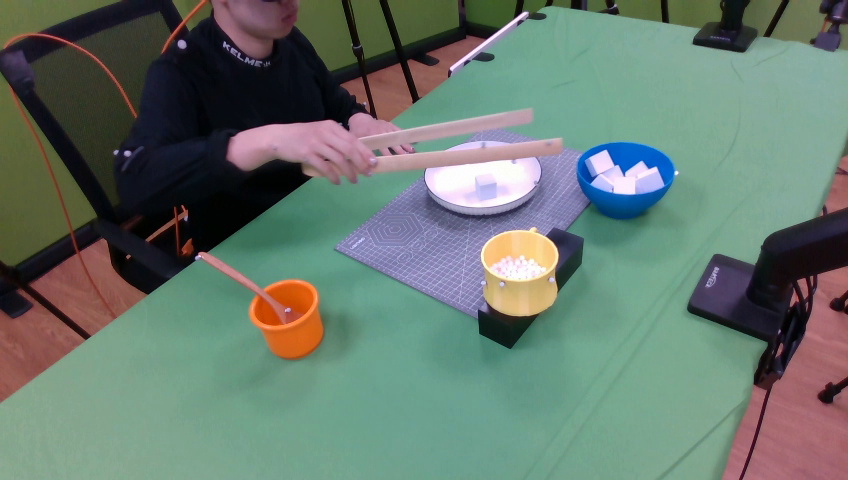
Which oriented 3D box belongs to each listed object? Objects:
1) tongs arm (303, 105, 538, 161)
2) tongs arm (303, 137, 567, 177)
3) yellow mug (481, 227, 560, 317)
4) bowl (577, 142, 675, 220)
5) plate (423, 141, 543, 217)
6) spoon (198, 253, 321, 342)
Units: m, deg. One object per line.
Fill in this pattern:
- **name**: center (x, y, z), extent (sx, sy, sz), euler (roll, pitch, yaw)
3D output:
- **tongs arm**: center (0.003, -0.167, 0.952), extent (0.389, 0.028, 0.028), euler (-13, 40, -12)
- **tongs arm**: center (0.015, -0.127, 0.891), extent (0.385, 0.026, 0.050), euler (-7, 36, -3)
- **yellow mug**: center (0.131, 0.032, 0.801), extent (0.099, 0.064, 0.131), euler (11, 43, 20)
- **bowl**: center (0.322, -0.086, 0.980), extent (0.151, 0.077, 0.150), euler (-4, 40, 4)
- **plate**: center (0.103, -0.103, 1.059), extent (0.207, 0.039, 0.206), euler (-4, 40, 4)
- **spoon**: center (-0.220, 0.075, 0.814), extent (0.021, 0.194, 0.041), euler (-37, 18, 39)
